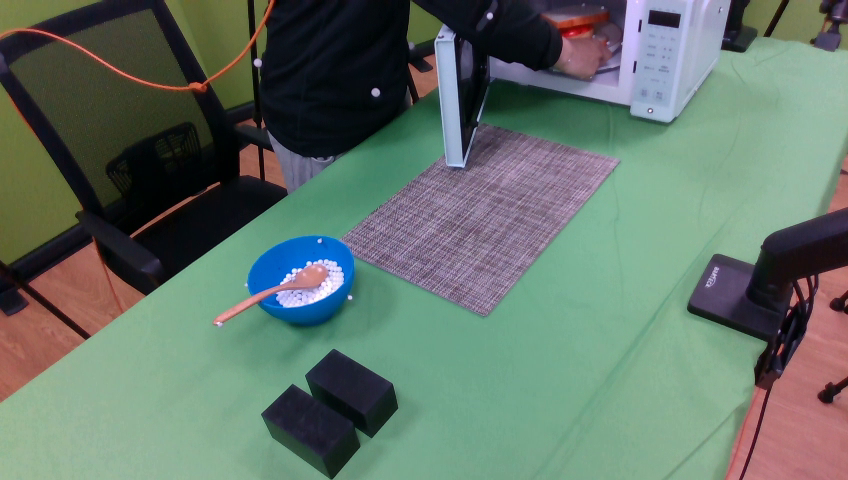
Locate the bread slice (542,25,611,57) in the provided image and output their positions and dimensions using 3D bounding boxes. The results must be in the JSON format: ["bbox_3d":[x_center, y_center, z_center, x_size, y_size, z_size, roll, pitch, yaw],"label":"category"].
[{"bbox_3d":[0.332,-0.432,1.305,0.135,0.018,0.106,-14,47,-9],"label":"bread slice"}]

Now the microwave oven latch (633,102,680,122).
[{"bbox_3d":[0.443,-0.250,1.157,0.078,0.029,0.030,21,49,30],"label":"microwave oven latch"}]

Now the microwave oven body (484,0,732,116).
[{"bbox_3d":[0.377,-0.463,1.267,0.438,0.261,0.327,21,49,30],"label":"microwave oven body"}]

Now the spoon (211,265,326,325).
[{"bbox_3d":[-0.207,0.072,0.822,0.041,0.021,0.195,27,29,27],"label":"spoon"}]

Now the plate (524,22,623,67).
[{"bbox_3d":[0.321,-0.424,1.307,0.207,0.039,0.206,-4,41,4],"label":"plate"}]

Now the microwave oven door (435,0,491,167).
[{"bbox_3d":[0.082,-0.340,1.159,0.039,0.245,0.355,4,42,13],"label":"microwave oven door"}]

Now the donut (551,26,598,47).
[{"bbox_3d":[0.319,-0.439,1.284,0.099,0.048,0.098,-4,29,2],"label":"donut"}]

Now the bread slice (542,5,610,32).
[{"bbox_3d":[0.322,-0.470,1.273,0.131,0.019,0.104,-10,36,-1],"label":"bread slice"}]

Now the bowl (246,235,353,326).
[{"bbox_3d":[-0.170,0.070,0.868,0.151,0.077,0.150,-4,41,4],"label":"bowl"}]
